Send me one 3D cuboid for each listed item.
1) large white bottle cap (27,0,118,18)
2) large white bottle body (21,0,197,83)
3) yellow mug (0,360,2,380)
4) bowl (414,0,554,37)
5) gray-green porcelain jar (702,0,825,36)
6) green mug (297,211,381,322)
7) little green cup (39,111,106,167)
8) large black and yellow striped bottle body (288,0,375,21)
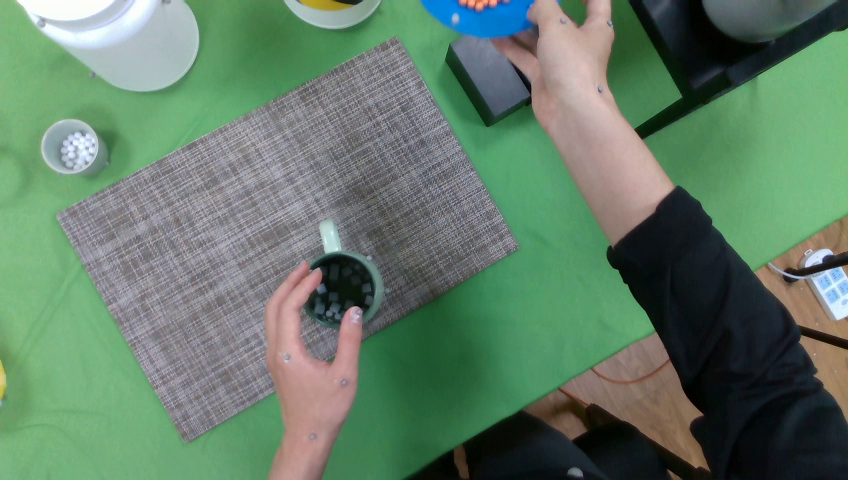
[{"bbox_3d":[-0.318,-0.257,0.541,0.115,0.018,0.114,0,87,-5],"label":"large white bottle cap"},{"bbox_3d":[-0.326,-0.252,0.625,0.131,0.184,0.130,0,86,-4],"label":"large white bottle body"},{"bbox_3d":[-0.521,0.164,0.643,0.100,0.064,0.130,3,87,-6],"label":"yellow mug"},{"bbox_3d":[0.047,-0.252,0.525,0.151,0.076,0.152,-2,105,-6],"label":"bowl"},{"bbox_3d":[0.316,-0.249,0.533,0.106,0.126,0.105,0,86,-5],"label":"gray-green porcelain jar"},{"bbox_3d":[-0.097,0.030,0.667,0.092,0.105,0.125,-13,87,-5],"label":"green mug"},{"bbox_3d":[-0.394,-0.111,0.684,0.061,0.038,0.061,0,87,-5],"label":"little green cup"},{"bbox_3d":[-0.107,-0.333,0.650,0.131,0.184,0.130,0,86,-4],"label":"large black and yellow striped bottle body"}]
